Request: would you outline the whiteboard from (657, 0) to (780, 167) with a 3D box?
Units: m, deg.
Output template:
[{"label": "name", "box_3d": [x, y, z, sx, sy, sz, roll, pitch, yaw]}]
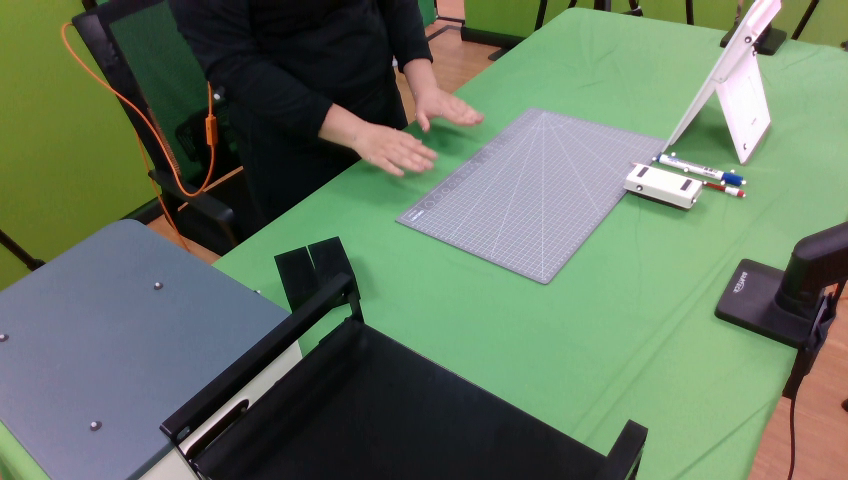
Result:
[{"label": "whiteboard", "box_3d": [0.571, -0.272, 1.038, 0.143, 0.306, 0.218, 36, 54, 17]}]

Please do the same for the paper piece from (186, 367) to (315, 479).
[{"label": "paper piece", "box_3d": [-0.222, 0.234, 0.757, 0.136, 0.009, 0.137, -38, 35, -23]}]

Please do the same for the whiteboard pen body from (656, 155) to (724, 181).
[{"label": "whiteboard pen body", "box_3d": [0.475, -0.123, 1.052, 0.139, 0.017, 0.017, 24, 49, 32]}]

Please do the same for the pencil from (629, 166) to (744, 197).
[{"label": "pencil", "box_3d": [0.447, -0.103, 1.038, 0.192, 0.012, 0.012, 21, 48, 29]}]

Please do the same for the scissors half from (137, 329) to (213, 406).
[{"label": "scissors half", "box_3d": [-0.336, 0.173, 0.824, 0.040, 0.013, 0.174, -35, 54, -30]}]

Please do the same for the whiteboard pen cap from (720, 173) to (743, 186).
[{"label": "whiteboard pen cap", "box_3d": [0.519, -0.103, 1.020, 0.033, 0.018, 0.018, 23, 49, 30]}]

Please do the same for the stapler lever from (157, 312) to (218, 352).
[{"label": "stapler lever", "box_3d": [-0.330, 0.121, 0.838, 0.117, 0.040, 0.027, 18, 36, 32]}]

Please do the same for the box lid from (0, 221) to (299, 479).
[{"label": "box lid", "box_3d": [-0.346, 0.106, 0.679, 0.368, 0.015, 0.264, 23, 49, 31]}]

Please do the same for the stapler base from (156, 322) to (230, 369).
[{"label": "stapler base", "box_3d": [-0.327, 0.141, 0.850, 0.129, 0.024, 0.041, 16, 35, 34]}]

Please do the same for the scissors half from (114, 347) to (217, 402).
[{"label": "scissors half", "box_3d": [-0.349, 0.185, 0.812, 0.174, 0.013, 0.040, 16, 52, 18]}]

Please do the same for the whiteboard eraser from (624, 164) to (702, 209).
[{"label": "whiteboard eraser", "box_3d": [0.396, -0.087, 1.003, 0.112, 0.042, 0.056, 22, 47, 31]}]

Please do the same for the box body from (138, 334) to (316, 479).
[{"label": "box body", "box_3d": [-0.339, 0.162, 0.728, 0.361, 0.161, 0.255, 23, 48, 31]}]
